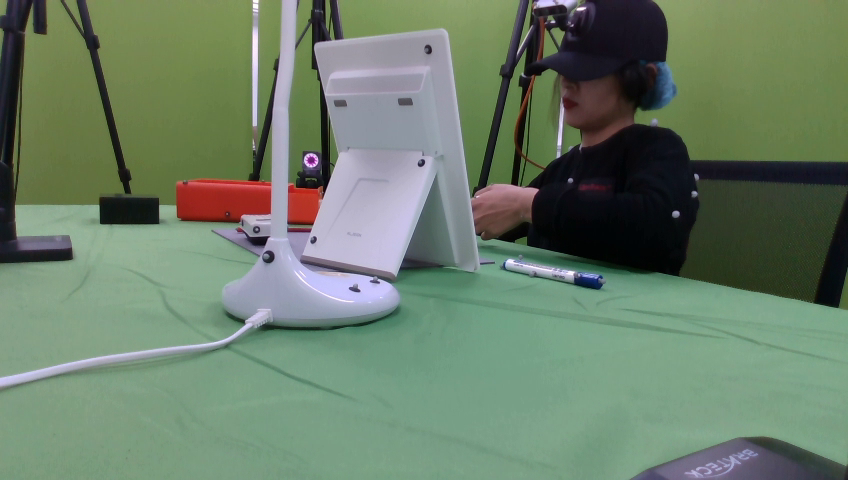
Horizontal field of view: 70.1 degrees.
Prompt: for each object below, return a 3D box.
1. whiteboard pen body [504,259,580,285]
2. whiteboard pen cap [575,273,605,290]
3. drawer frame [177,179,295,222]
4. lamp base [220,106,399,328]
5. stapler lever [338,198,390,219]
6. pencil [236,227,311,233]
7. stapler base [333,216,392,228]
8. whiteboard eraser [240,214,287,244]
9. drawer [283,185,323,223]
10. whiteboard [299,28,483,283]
[{"bbox_3d":[0.157,0.042,0.764,0.017,0.017,0.140,-4,11,-41],"label":"whiteboard pen body"},{"bbox_3d":[0.197,0.048,0.719,0.018,0.018,0.033,-4,10,-41],"label":"whiteboard pen cap"},{"bbox_3d":[-0.397,-0.088,1.315,0.214,0.082,0.201,1,8,-7],"label":"drawer frame"},{"bbox_3d":[-0.101,-0.023,0.531,0.160,0.180,0.179,4,10,10],"label":"lamp base"},{"bbox_3d":[-0.124,-0.064,1.249,0.119,0.040,0.026,0,7,-42],"label":"stapler lever"},{"bbox_3d":[-0.239,-0.017,1.093,0.195,0.012,0.012,1,7,-27],"label":"pencil"},{"bbox_3d":[-0.126,-0.038,1.250,0.131,0.024,0.041,-1,8,-42],"label":"stapler base"},{"bbox_3d":[-0.256,-0.018,0.958,0.056,0.042,0.112,0,8,-25],"label":"whiteboard eraser"},{"bbox_3d":[-0.329,-0.084,1.326,0.212,0.073,0.194,1,8,-7],"label":"drawer"},{"bbox_3d":[-0.075,-0.082,0.741,0.216,0.305,0.144,9,30,38],"label":"whiteboard"}]
